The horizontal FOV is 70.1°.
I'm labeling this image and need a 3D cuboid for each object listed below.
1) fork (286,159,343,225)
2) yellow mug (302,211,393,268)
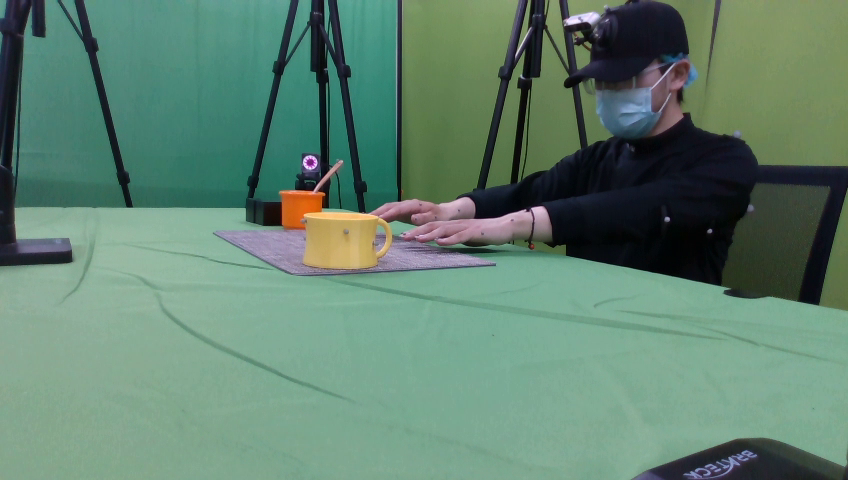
[{"bbox_3d":[-0.222,-0.102,1.253,0.028,0.019,0.207,8,52,30],"label":"fork"},{"bbox_3d":[-0.098,-0.003,0.810,0.131,0.064,0.099,-2,8,-37],"label":"yellow mug"}]
